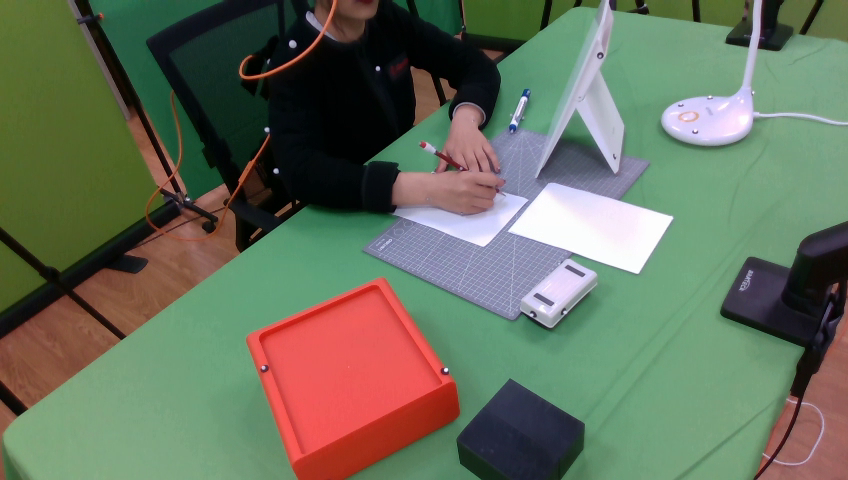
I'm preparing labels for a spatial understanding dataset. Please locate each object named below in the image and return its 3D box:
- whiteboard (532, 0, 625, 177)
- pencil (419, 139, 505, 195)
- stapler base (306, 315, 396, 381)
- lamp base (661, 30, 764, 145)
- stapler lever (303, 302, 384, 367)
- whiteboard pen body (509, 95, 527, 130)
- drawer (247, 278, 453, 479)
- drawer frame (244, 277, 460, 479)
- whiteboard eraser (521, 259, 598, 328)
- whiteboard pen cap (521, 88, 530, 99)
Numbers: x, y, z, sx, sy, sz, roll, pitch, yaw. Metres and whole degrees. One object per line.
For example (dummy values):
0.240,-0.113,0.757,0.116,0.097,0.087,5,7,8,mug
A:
0.321,-0.258,1.050,0.144,0.306,0.217,21,45,5,whiteboard
0.068,-0.118,1.008,0.012,0.196,0.012,-36,39,37,pencil
-0.101,0.139,0.819,0.131,0.024,0.041,-31,37,-13,stapler base
0.535,-0.287,1.096,0.179,0.181,0.159,-10,40,-4,lamp base
-0.108,0.123,0.805,0.118,0.040,0.026,-27,36,-15,stapler lever
0.199,-0.273,1.261,0.017,0.017,0.140,8,44,19,whiteboard pen body
-0.096,0.167,0.758,0.195,0.073,0.210,-22,43,-16,drawer
-0.093,0.167,0.755,0.202,0.083,0.211,-23,43,-17,drawer frame
0.189,0.076,0.843,0.055,0.042,0.113,29,53,37,whiteboard eraser
0.218,-0.312,1.301,0.018,0.018,0.033,6,47,18,whiteboard pen cap
